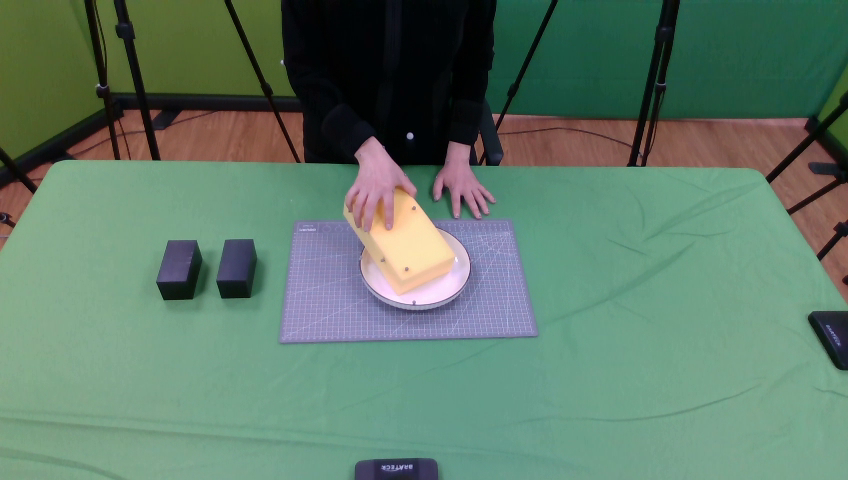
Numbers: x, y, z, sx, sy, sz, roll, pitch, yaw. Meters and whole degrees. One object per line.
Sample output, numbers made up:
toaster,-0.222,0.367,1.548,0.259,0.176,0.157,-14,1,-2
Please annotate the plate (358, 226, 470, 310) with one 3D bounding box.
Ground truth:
plate,-0.019,0.052,1.132,0.209,0.038,0.208,2,46,-2

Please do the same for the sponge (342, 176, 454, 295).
sponge,-0.052,-0.012,1.134,0.118,0.061,0.206,-25,66,-25
